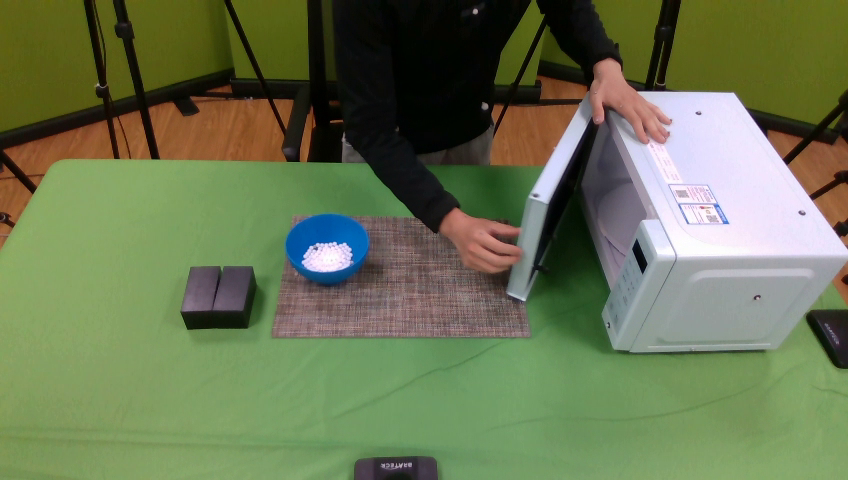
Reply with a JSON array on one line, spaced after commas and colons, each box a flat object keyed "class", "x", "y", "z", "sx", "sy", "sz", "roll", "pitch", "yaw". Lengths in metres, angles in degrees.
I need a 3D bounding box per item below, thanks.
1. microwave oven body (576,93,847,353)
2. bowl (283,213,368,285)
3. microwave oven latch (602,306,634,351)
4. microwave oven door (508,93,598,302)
[{"class": "microwave oven body", "x": 0.475, "y": -0.041, "z": 1.109, "sx": 0.326, "sy": 0.261, "sz": 0.438, "roll": -1, "pitch": 45, "yaw": -4}, {"class": "bowl", "x": -0.178, "y": 0.030, "z": 1.114, "sx": 0.151, "sy": 0.077, "sz": 0.150, "roll": 3, "pitch": 45, "yaw": -2}, {"class": "microwave oven latch", "x": 0.332, "y": 0.153, "z": 1.044, "sx": 0.030, "sy": 0.029, "sz": 0.078, "roll": 0, "pitch": 45, "yaw": -4}, {"class": "microwave oven door", "x": 0.247, "y": -0.088, "z": 1.130, "sx": 0.039, "sy": 0.245, "sz": 0.354, "roll": 20, "pitch": 48, "yaw": 15}]
